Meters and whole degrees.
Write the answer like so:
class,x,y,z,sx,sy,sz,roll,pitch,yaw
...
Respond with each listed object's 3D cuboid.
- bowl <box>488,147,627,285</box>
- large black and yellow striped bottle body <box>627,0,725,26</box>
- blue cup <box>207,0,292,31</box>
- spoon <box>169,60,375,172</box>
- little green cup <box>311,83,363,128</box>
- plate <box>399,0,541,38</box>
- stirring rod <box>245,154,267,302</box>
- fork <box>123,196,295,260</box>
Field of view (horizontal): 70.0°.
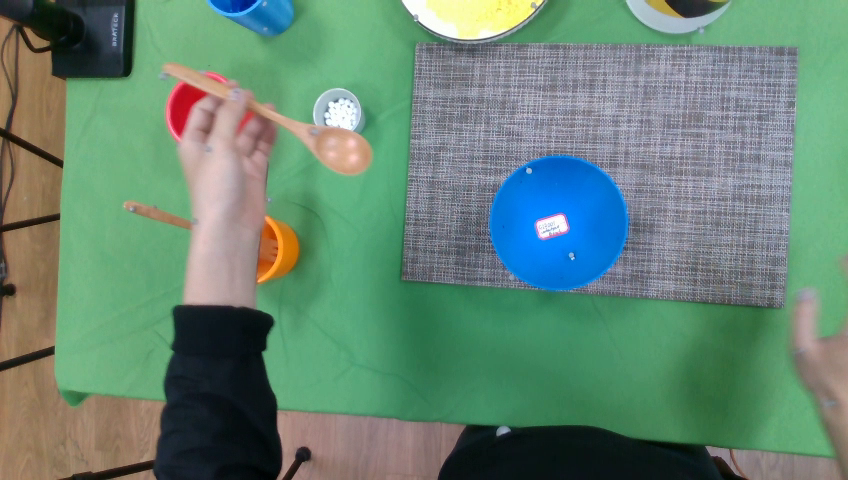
class,x,y,z,sx,sy,sz,roll,pitch,yaw
bowl,0.151,-0.025,0.700,0.151,0.077,0.151,0,90,9
large black and yellow striped bottle body,0.284,-0.318,0.631,0.130,0.184,0.130,0,89,9
blue cup,-0.211,-0.305,0.750,0.092,0.100,0.092,0,90,11
spoon,-0.134,-0.115,0.544,0.195,0.021,0.041,25,95,-14
little green cup,-0.107,-0.162,0.765,0.061,0.039,0.061,0,90,10
plate,0.060,-0.347,0.741,0.209,0.038,0.209,0,90,9
stirring rod,-0.199,-0.014,0.720,0.014,0.006,0.176,4,90,11
fork,-0.252,-0.014,0.731,0.209,0.018,0.028,21,97,-35
